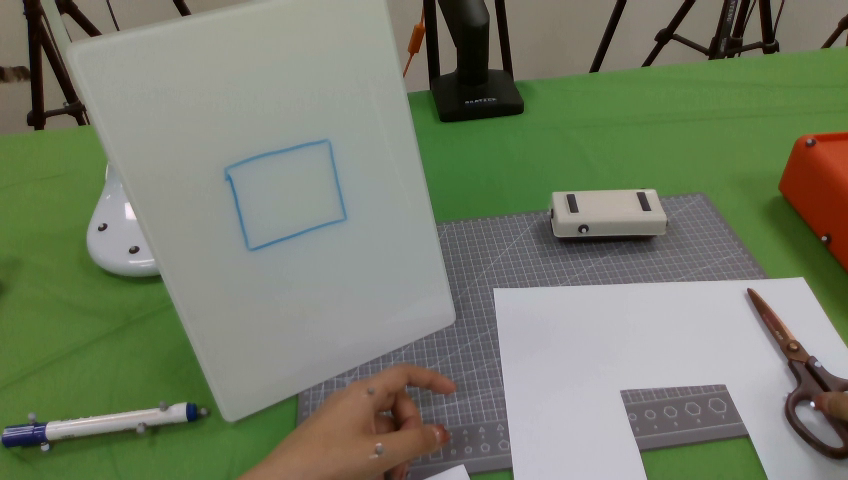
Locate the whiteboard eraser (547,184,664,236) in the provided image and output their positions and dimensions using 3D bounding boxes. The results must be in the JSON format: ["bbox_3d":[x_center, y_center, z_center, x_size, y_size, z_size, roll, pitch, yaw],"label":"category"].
[{"bbox_3d":[0.189,-0.030,0.637,0.112,0.042,0.055,-2,40,2],"label":"whiteboard eraser"}]

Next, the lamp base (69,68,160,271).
[{"bbox_3d":[-0.308,-0.085,0.635,0.178,0.182,0.160,21,47,29],"label":"lamp base"}]

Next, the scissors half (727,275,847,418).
[{"bbox_3d":[0.306,0.090,0.497,0.040,0.013,0.173,23,29,-37],"label":"scissors half"}]

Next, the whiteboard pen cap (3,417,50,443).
[{"bbox_3d":[-0.314,0.151,0.483,0.033,0.018,0.018,-5,41,-11],"label":"whiteboard pen cap"}]

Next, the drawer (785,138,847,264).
[{"bbox_3d":[0.498,-0.023,0.580,0.194,0.074,0.209,-5,41,0],"label":"drawer"}]

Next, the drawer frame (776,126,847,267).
[{"bbox_3d":[0.497,-0.028,0.585,0.202,0.083,0.211,-6,41,-1],"label":"drawer frame"}]

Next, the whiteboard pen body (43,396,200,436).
[{"bbox_3d":[-0.256,0.145,0.491,0.141,0.017,0.017,-7,41,-8],"label":"whiteboard pen body"}]

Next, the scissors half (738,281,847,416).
[{"bbox_3d":[0.317,0.096,0.507,0.013,0.040,0.173,-43,42,20],"label":"scissors half"}]

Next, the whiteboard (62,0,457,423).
[{"bbox_3d":[-0.123,-0.043,0.524,0.217,0.308,0.142,-21,25,-17],"label":"whiteboard"}]
